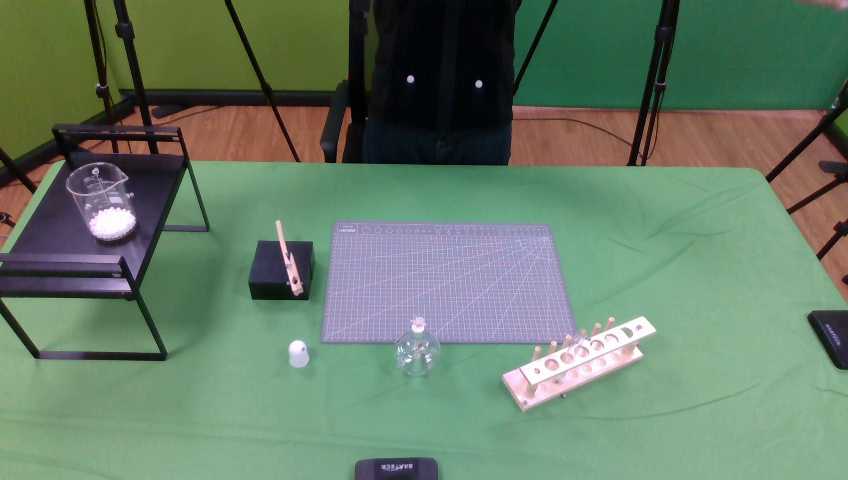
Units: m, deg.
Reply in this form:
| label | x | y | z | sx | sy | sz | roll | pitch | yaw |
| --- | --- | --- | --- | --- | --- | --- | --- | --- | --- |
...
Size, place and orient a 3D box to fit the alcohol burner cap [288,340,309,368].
| label | x | y | z | sx | sy | sz | roll | pitch | yaw |
| --- | --- | --- | --- | --- | --- | --- | --- | --- | --- |
| alcohol burner cap | -0.207 | 0.182 | 0.991 | 0.034 | 0.048 | 0.033 | 3 | 46 | -3 |

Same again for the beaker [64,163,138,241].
| label | x | y | z | sx | sy | sz | roll | pitch | yaw |
| --- | --- | --- | --- | --- | --- | --- | --- | --- | --- |
| beaker | -0.477 | -0.055 | 0.910 | 0.084 | 0.101 | 0.073 | -9 | 48 | -13 |

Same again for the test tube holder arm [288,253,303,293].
| label | x | y | z | sx | sy | sz | roll | pitch | yaw |
| --- | --- | --- | --- | --- | --- | --- | --- | --- | --- |
| test tube holder arm | -0.227 | 0.057 | 1.059 | 0.010 | 0.015 | 0.087 | -15 | 48 | -15 |

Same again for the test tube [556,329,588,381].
| label | x | y | z | sx | sy | sz | roll | pitch | yaw |
| --- | --- | --- | --- | --- | --- | --- | --- | --- | --- |
| test tube | 0.224 | 0.178 | 0.925 | 0.017 | 0.151 | 0.017 | 2 | 52 | -2 |

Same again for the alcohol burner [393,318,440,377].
| label | x | y | z | sx | sy | sz | roll | pitch | yaw |
| --- | --- | --- | --- | --- | --- | --- | --- | --- | --- |
| alcohol burner | -0.011 | 0.166 | 0.971 | 0.078 | 0.120 | 0.077 | 1 | 45 | -1 |

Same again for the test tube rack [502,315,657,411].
| label | x | y | z | sx | sy | sz | roll | pitch | yaw |
| --- | --- | --- | --- | --- | --- | --- | --- | --- | --- |
| test tube rack | 0.253 | 0.186 | 0.989 | 0.242 | 0.085 | 0.066 | -18 | 50 | -20 |

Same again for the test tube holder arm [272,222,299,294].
| label | x | y | z | sx | sy | sz | roll | pitch | yaw |
| --- | --- | --- | --- | --- | --- | --- | --- | --- | --- |
| test tube holder arm | -0.250 | 0.028 | 1.087 | 0.013 | 0.015 | 0.177 | -17 | 48 | -16 |
